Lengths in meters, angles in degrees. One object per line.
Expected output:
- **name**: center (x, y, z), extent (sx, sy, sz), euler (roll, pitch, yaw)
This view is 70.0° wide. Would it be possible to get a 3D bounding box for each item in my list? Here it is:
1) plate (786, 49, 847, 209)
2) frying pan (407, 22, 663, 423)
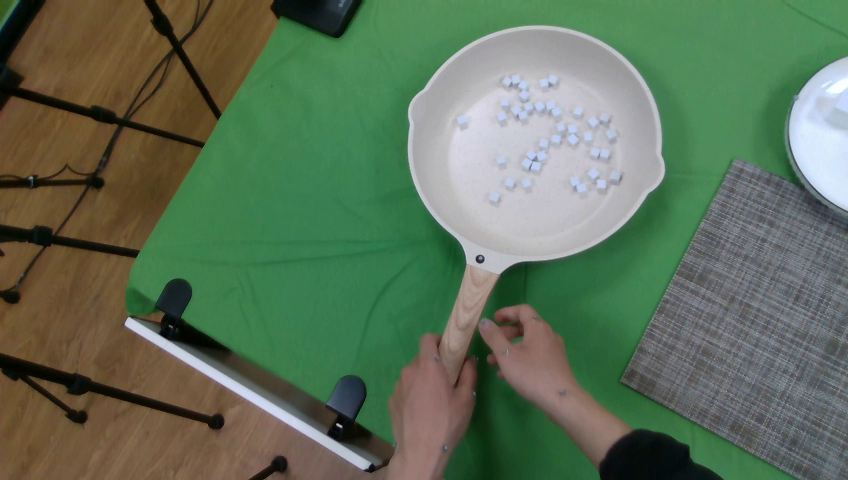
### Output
- **plate**: center (0.520, -0.122, 0.687), extent (0.207, 0.039, 0.206), euler (-2, 77, 9)
- **frying pan**: center (0.088, -0.025, 0.703), extent (0.305, 0.103, 0.486), euler (19, 73, 14)
